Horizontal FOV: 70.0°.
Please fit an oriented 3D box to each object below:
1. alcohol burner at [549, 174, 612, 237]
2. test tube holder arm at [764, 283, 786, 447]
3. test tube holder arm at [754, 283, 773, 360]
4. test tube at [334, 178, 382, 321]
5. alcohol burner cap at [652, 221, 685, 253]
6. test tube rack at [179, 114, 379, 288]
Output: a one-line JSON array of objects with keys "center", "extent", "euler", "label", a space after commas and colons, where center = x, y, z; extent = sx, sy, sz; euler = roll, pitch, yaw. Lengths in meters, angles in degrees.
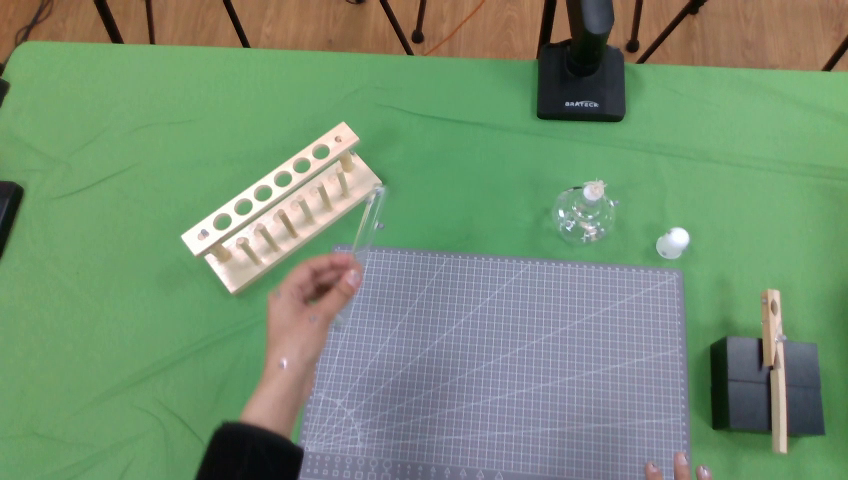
[{"center": [0.195, -0.048, 0.742], "extent": [0.078, 0.120, 0.077], "euler": [0, 69, 1], "label": "alcohol burner"}, {"center": [0.384, 0.135, 0.668], "extent": [0.013, 0.015, 0.177], "euler": [6, 71, -3], "label": "test tube holder arm"}, {"center": [0.383, 0.092, 0.682], "extent": [0.010, 0.015, 0.087], "euler": [7, 71, -2], "label": "test tube holder arm"}, {"center": [-0.065, 0.012, 0.590], "extent": [0.017, 0.017, 0.151], "euler": [19, 108, 10], "label": "test tube"}, {"center": [0.309, -0.006, 0.760], "extent": [0.034, 0.048, 0.033], "euler": [-1, 69, 2], "label": "alcohol burner cap"}, {"center": [-0.177, -0.049, 0.773], "extent": [0.242, 0.086, 0.066], "euler": [-38, 72, -11], "label": "test tube rack"}]
